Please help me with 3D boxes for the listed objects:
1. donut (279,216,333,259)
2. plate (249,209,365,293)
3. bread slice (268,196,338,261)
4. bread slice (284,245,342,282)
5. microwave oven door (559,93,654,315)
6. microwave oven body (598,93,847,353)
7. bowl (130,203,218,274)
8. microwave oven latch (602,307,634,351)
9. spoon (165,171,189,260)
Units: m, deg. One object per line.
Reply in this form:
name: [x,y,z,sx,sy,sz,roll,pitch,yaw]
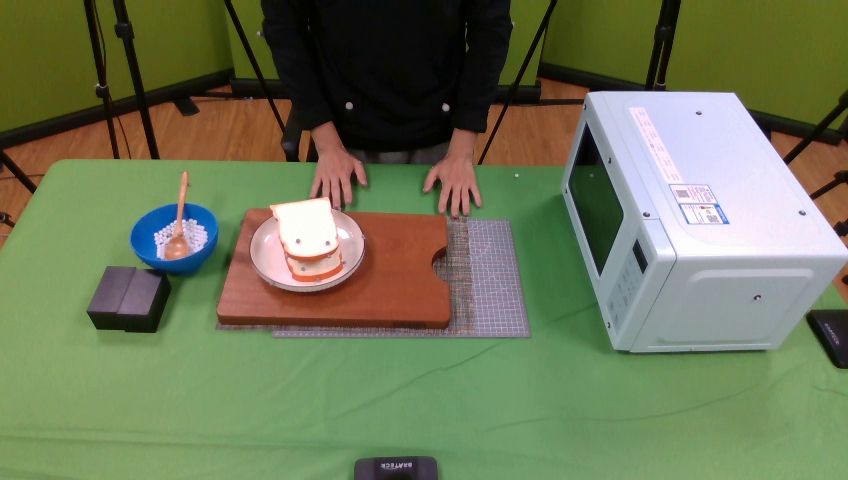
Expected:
donut: [-0.213,-0.005,1.097,0.099,0.048,0.098,-2,41,2]
plate: [-0.212,0.021,1.113,0.208,0.039,0.206,3,45,-2]
bread slice: [-0.207,-0.020,1.071,0.107,0.018,0.133,-14,55,-18]
bread slice: [-0.205,0.024,1.115,0.105,0.019,0.130,-13,45,-14]
microwave oven door: [0.327,-0.074,1.123,0.039,0.245,0.353,-1,46,-5]
microwave oven body: [0.475,-0.041,1.110,0.326,0.261,0.438,-1,45,-4]
bowl: [-0.450,0.010,1.117,0.151,0.077,0.150,3,45,-3]
microwave oven latch: [0.332,0.153,1.044,0.030,0.029,0.078,-1,45,-4]
spoon: [-0.452,-0.046,1.129,0.041,0.022,0.193,-2,69,-1]
